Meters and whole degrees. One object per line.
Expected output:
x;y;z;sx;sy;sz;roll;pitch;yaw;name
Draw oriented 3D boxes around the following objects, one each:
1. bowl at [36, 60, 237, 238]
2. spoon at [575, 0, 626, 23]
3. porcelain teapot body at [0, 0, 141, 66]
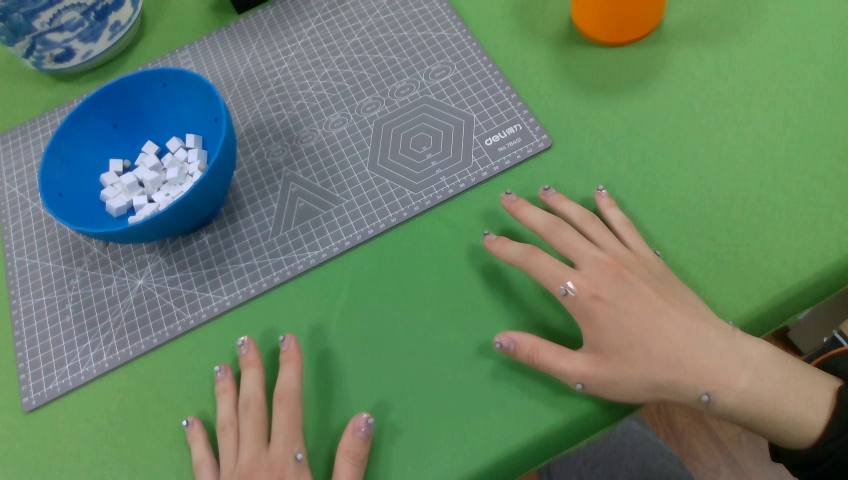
-0.209;-0.059;0.480;0.151;0.077;0.150;-4;63;9;bowl
0.185;-0.251;0.461;0.022;0.194;0.041;-7;54;-44;spoon
-0.401;-0.265;0.541;0.205;0.227;0.144;-22;62;1;porcelain teapot body
